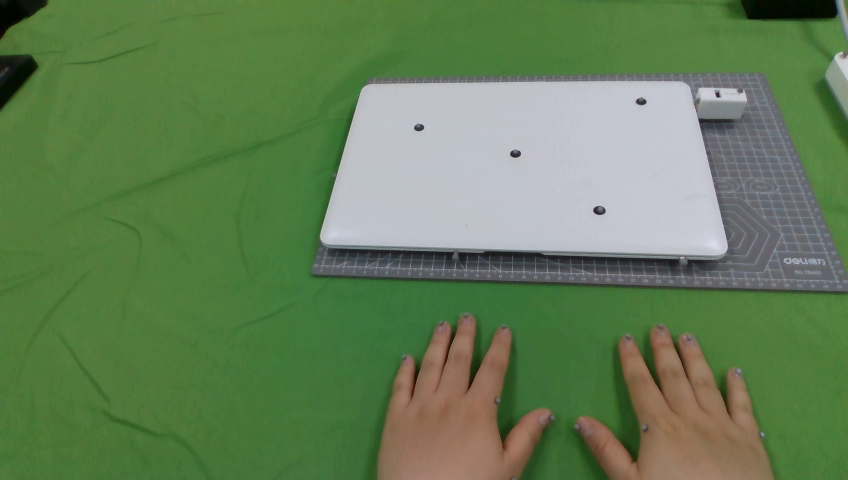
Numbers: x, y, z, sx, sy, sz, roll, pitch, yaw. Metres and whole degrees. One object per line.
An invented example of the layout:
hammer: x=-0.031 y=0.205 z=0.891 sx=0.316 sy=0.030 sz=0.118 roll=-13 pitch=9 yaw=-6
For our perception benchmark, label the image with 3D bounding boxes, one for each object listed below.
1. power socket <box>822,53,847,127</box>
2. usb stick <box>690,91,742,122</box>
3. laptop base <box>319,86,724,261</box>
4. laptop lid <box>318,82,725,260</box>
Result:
power socket: x=0.455 y=-0.111 z=0.582 sx=0.072 sy=0.033 sz=0.224 roll=1 pitch=49 yaw=6
usb stick: x=0.288 y=-0.136 z=0.616 sx=0.059 sy=0.027 sz=0.021 roll=0 pitch=48 yaw=11
laptop base: x=0.090 y=-0.072 z=0.600 sx=0.354 sy=0.023 sz=0.233 roll=1 pitch=53 yaw=8
laptop lid: x=0.088 y=-0.078 z=0.590 sx=0.356 sy=0.013 sz=0.239 roll=3 pitch=52 yaw=9
